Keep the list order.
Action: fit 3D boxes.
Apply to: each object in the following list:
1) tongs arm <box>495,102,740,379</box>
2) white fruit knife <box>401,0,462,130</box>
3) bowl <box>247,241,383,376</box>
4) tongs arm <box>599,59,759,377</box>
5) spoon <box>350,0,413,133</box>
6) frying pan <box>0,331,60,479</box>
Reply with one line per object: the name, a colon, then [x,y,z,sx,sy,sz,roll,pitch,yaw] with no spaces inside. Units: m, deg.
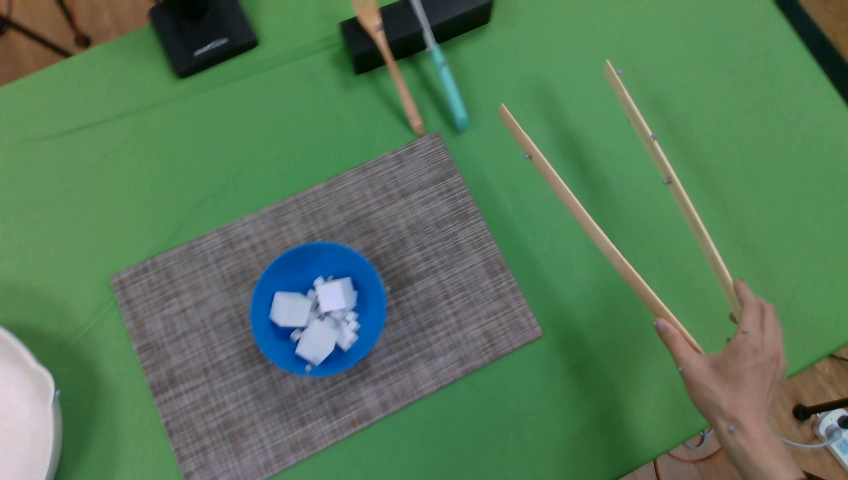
tongs arm: [0.193,-0.009,0.657,0.028,0.028,0.384,-30,71,-16]
white fruit knife: [0.003,-0.242,0.790,0.016,0.027,0.207,-25,93,-12]
bowl: [-0.121,0.083,0.704,0.151,0.077,0.150,0,76,-1]
tongs arm: [0.263,-0.040,0.668,0.051,0.027,0.381,-19,70,-8]
spoon: [-0.052,-0.231,0.780,0.041,0.021,0.194,-15,98,17]
frying pan: [-0.493,0.313,0.628,0.307,0.103,0.484,-27,70,-7]
